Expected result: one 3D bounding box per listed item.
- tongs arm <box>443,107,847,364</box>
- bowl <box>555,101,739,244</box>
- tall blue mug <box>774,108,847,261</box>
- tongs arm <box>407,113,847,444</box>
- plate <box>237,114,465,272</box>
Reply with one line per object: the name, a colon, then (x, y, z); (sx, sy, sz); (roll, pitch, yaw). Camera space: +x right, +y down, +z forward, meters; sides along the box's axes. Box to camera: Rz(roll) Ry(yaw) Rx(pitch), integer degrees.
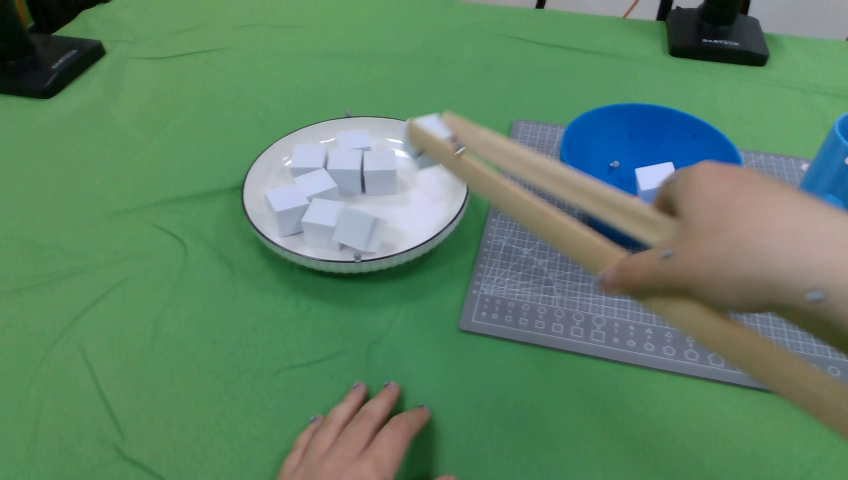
tongs arm: (0.125, -0.011, 0.379); (0.028, 0.028, 0.383); (-15, 37, -33)
bowl: (0.187, -0.050, 0.539); (0.151, 0.077, 0.150); (0, 46, 0)
tall blue mug: (0.373, -0.040, 0.508); (0.106, 0.109, 0.077); (19, 48, 18)
tongs arm: (0.106, -0.004, 0.367); (0.051, 0.027, 0.380); (-15, 37, -27)
plate: (-0.065, -0.045, 0.566); (0.209, 0.038, 0.207); (1, 46, 0)
